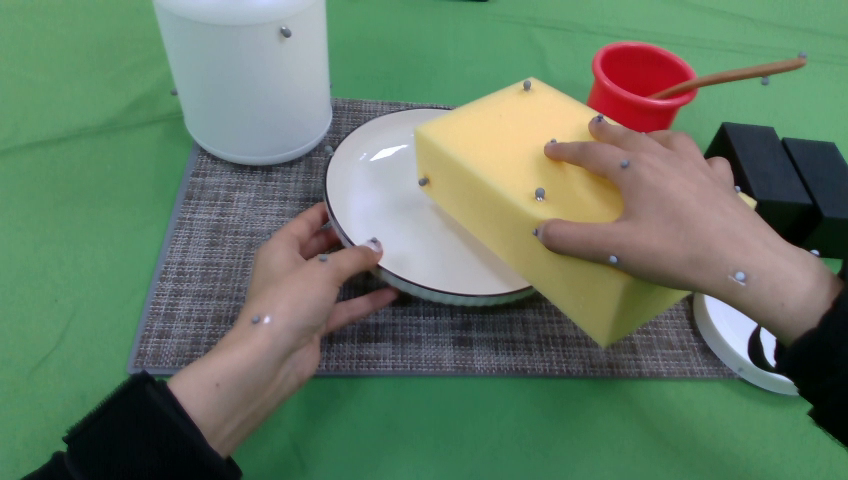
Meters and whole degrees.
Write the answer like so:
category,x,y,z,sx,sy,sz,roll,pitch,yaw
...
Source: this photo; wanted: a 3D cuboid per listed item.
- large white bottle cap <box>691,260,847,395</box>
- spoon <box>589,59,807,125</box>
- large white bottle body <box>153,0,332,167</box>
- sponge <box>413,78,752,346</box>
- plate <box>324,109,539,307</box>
category,x,y,z,sx,sy,sz,roll,pitch,yaw
large white bottle cap,0.267,0.064,0.470,0.115,0.018,0.113,5,50,-6
spoon,0.233,-0.132,0.545,0.193,0.022,0.041,-10,31,47
large white bottle body,-0.144,-0.168,0.497,0.131,0.186,0.129,3,50,-4
sponge,0.098,-0.034,0.432,0.118,0.061,0.204,-28,48,-23
plate,0.023,-0.027,0.492,0.209,0.038,0.207,7,49,-8
